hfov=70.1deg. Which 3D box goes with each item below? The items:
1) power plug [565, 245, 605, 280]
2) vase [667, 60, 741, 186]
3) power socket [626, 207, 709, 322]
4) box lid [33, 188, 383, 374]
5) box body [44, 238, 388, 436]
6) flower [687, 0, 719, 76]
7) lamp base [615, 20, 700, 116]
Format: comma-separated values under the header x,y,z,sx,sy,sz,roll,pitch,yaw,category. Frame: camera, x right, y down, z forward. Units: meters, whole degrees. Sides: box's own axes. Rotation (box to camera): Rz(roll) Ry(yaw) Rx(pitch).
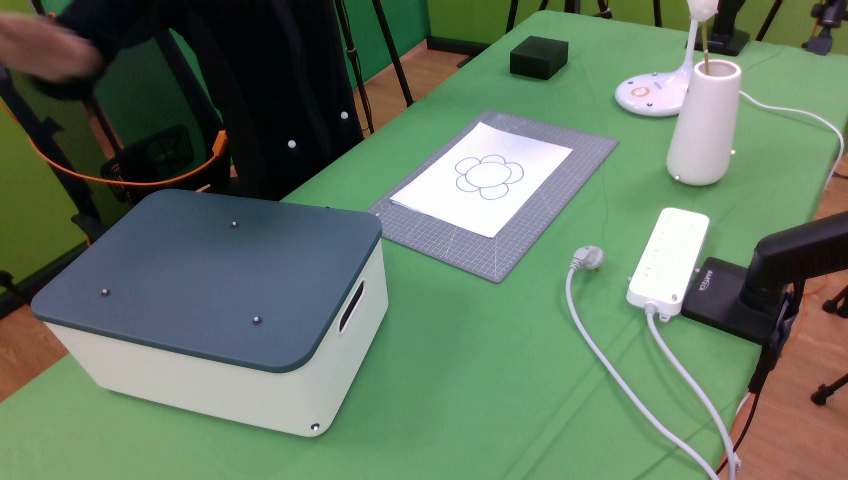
x,y,z,sx,sy,sz,roll,pitch,yaw,category
0.234,0.037,0.889,0.072,0.053,0.035,-43,37,1,power plug
0.463,-0.189,0.994,0.098,0.201,0.097,-4,40,4,vase
0.360,0.026,0.886,0.072,0.033,0.227,17,46,26,power socket
-0.257,0.032,0.751,0.370,0.015,0.263,8,42,16,box lid
-0.251,0.088,0.799,0.362,0.161,0.254,7,42,16,box body
0.436,-0.242,0.934,0.038,0.364,0.043,-24,49,8,flower
0.484,-0.364,1.211,0.180,0.181,0.159,-15,41,-14,lamp base
